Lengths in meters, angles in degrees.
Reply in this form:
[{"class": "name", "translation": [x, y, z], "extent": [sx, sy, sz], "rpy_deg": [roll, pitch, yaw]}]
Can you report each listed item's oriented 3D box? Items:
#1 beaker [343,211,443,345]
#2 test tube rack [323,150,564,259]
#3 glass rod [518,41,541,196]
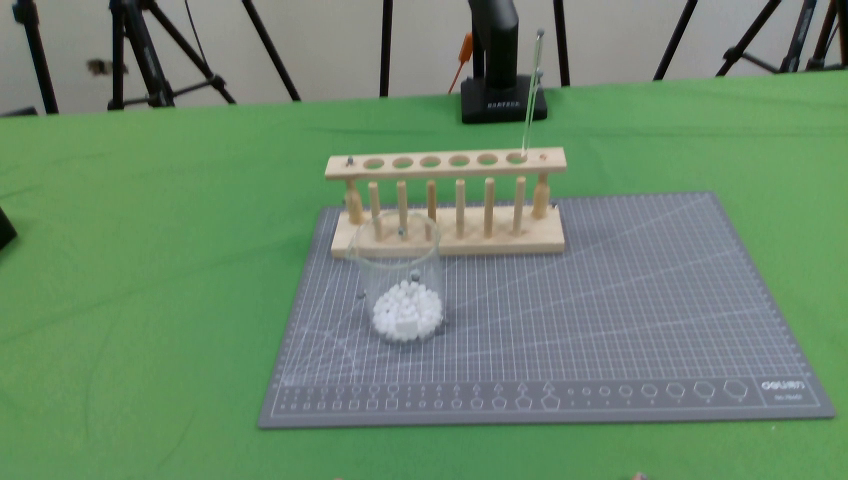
[{"class": "beaker", "translation": [-0.023, 0.037, 0.533], "extent": [0.084, 0.101, 0.073], "rpy_deg": [-15, 40, -10]}, {"class": "test tube rack", "translation": [0.020, -0.036, 0.629], "extent": [0.242, 0.086, 0.066], "rpy_deg": [-2, 39, 4]}, {"class": "glass rod", "translation": [0.100, -0.096, 0.589], "extent": [0.008, 0.201, 0.008], "rpy_deg": [0, 41, 1]}]
